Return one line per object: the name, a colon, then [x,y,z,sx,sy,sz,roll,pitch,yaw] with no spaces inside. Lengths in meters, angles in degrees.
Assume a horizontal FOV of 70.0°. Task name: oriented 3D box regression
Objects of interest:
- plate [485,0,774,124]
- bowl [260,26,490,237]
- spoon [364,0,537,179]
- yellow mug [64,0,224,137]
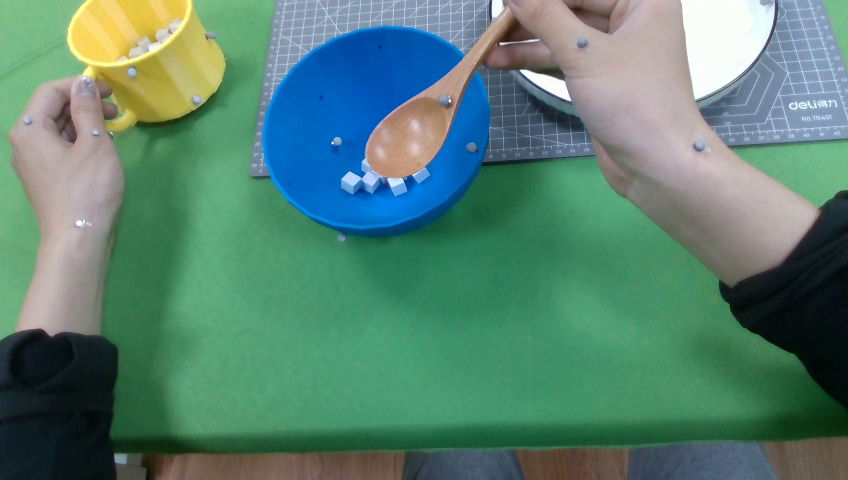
plate: [0.151,-0.172,0.466,0.209,0.038,0.207,-3,65,7]
bowl: [-0.027,-0.062,0.422,0.151,0.077,0.150,-3,69,7]
spoon: [0.036,-0.108,0.329,0.194,0.022,0.041,-47,68,16]
yellow mug: [-0.230,-0.140,0.485,0.099,0.064,0.130,19,67,16]
